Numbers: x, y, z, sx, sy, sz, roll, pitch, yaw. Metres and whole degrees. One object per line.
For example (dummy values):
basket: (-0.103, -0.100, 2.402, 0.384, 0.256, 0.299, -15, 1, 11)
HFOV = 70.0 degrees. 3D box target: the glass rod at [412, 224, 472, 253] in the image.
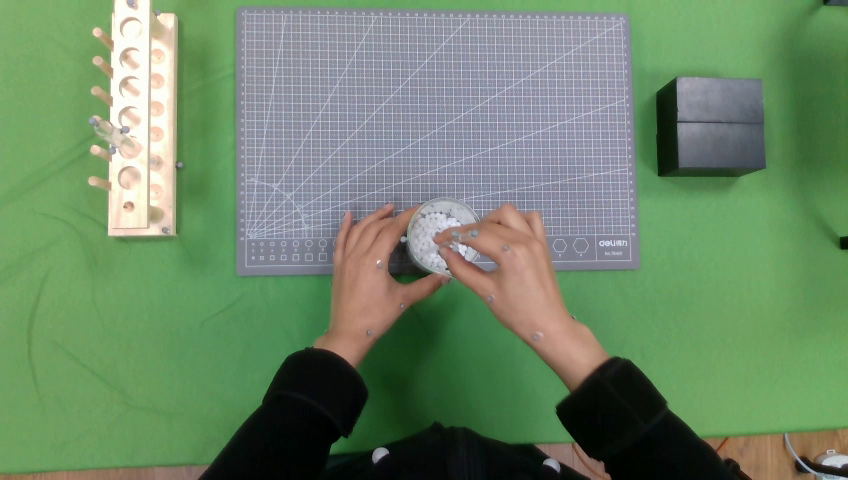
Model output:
glass rod: (0.012, 0.001, 0.561, 0.008, 0.199, 0.008, 1, 84, -13)

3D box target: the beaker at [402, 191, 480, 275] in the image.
beaker: (0.015, -0.003, 0.627, 0.074, 0.100, 0.084, -20, 88, -6)

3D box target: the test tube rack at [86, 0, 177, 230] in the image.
test tube rack: (-0.301, -0.134, 0.617, 0.067, 0.085, 0.242, -1, 86, -4)

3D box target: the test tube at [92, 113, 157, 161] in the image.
test tube: (-0.276, -0.093, 0.567, 0.017, 0.150, 0.017, 0, 87, -10)
